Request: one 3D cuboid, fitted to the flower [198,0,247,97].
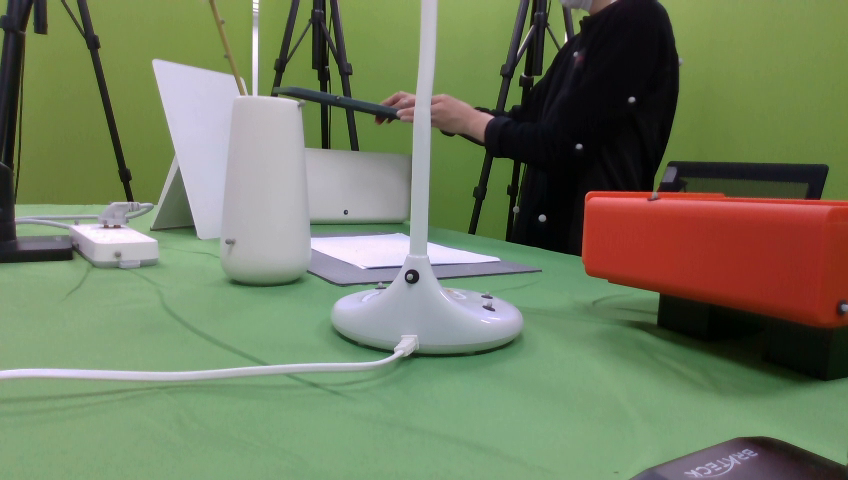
[{"bbox_3d":[-0.187,-0.133,0.648,0.038,0.362,0.044,0,22,43],"label":"flower"}]

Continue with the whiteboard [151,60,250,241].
[{"bbox_3d":[-0.408,-0.140,1.094,0.143,0.305,0.218,-15,0,25],"label":"whiteboard"}]

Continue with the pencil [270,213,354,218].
[{"bbox_3d":[-0.244,-0.053,1.339,0.195,0.012,0.012,-1,8,-29],"label":"pencil"}]

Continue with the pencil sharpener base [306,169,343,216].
[{"bbox_3d":[-0.234,-0.112,1.433,0.077,0.107,0.061,-1,6,-30],"label":"pencil sharpener base"}]

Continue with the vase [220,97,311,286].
[{"bbox_3d":[-0.172,-0.052,0.662,0.098,0.200,0.098,3,8,0],"label":"vase"}]

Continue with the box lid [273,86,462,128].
[{"bbox_3d":[-0.128,-0.284,1.301,0.373,0.015,0.262,7,9,-24],"label":"box lid"}]

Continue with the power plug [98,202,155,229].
[{"bbox_3d":[-0.416,-0.027,0.848,0.073,0.052,0.035,0,8,-28],"label":"power plug"}]

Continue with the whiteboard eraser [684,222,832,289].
[{"bbox_3d":[0.305,0.013,0.558,0.056,0.042,0.112,-10,20,-30],"label":"whiteboard eraser"}]

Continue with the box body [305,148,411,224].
[{"bbox_3d":[-0.233,-0.127,1.373,0.366,0.160,0.253,-2,8,-29],"label":"box body"}]

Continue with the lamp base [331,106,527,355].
[{"bbox_3d":[0.006,-0.012,0.478,0.161,0.180,0.179,2,10,2],"label":"lamp base"}]

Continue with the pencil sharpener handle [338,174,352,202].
[{"bbox_3d":[-0.189,-0.125,1.459,0.031,0.067,0.036,-1,9,-30],"label":"pencil sharpener handle"}]

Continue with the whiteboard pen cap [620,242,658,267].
[{"bbox_3d":[0.199,0.013,0.557,0.018,0.018,0.033,-4,16,-39],"label":"whiteboard pen cap"}]

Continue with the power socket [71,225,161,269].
[{"bbox_3d":[-0.408,0.004,0.793,0.072,0.032,0.225,-2,8,-38],"label":"power socket"}]

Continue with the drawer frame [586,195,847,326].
[{"bbox_3d":[0.284,0.004,0.508,0.203,0.082,0.212,-1,6,-28],"label":"drawer frame"}]

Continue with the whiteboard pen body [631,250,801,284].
[{"bbox_3d":[0.240,0.020,0.512,0.017,0.017,0.140,-4,8,-41],"label":"whiteboard pen body"}]

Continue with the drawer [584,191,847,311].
[{"bbox_3d":[0.280,0.001,0.513,0.195,0.073,0.211,0,8,-28],"label":"drawer"}]
